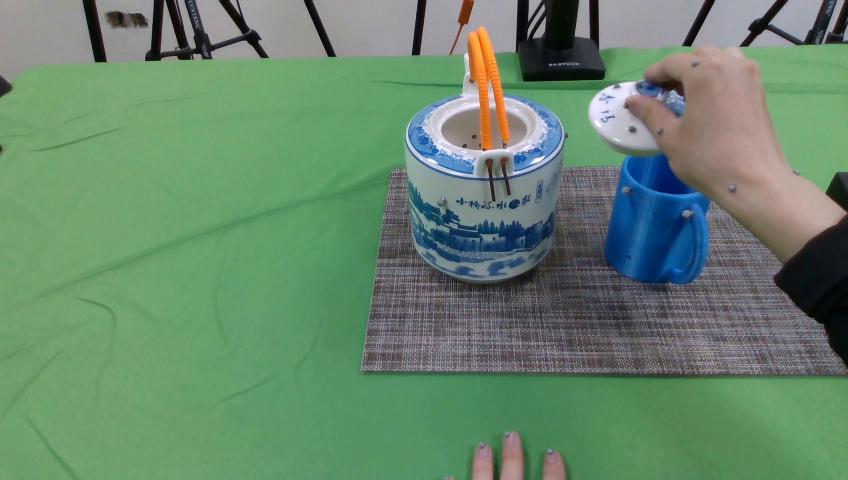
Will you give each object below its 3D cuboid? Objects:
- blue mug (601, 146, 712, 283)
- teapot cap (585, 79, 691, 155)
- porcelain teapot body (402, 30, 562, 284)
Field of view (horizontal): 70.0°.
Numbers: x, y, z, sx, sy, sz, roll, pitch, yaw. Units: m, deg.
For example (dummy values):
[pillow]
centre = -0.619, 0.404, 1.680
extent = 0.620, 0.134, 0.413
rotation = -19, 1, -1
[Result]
[blue mug]
centre = 0.223, -0.015, 0.569
extent = 0.082, 0.107, 0.115
rotation = -12, 43, -9
[teapot cap]
centre = 0.173, -0.106, 0.489
extent = 0.085, 0.044, 0.084
rotation = 0, 51, 1
[porcelain teapot body]
centre = 0.050, -0.096, 0.580
extent = 0.145, 0.227, 0.203
rotation = -5, 42, -2
